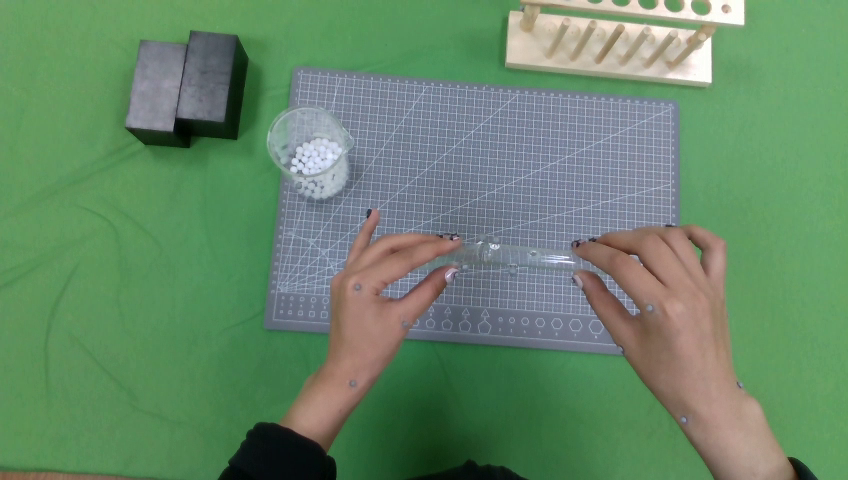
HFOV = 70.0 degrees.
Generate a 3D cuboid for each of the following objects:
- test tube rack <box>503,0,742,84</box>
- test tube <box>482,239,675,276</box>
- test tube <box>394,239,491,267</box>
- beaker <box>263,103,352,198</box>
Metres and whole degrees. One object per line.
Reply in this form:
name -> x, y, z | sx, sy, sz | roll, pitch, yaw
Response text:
test tube rack -> 0.217, -0.236, 0.683 | 0.242, 0.085, 0.066 | 5, 79, -2
test tube -> 0.117, 0.014, 0.453 | 0.150, 0.017, 0.017 | 5, 79, -9
test tube -> 0.010, 0.013, 0.511 | 0.017, 0.150, 0.017 | 2, 85, -27
beaker -> -0.115, -0.088, 0.629 | 0.084, 0.100, 0.073 | -3, 80, -4
